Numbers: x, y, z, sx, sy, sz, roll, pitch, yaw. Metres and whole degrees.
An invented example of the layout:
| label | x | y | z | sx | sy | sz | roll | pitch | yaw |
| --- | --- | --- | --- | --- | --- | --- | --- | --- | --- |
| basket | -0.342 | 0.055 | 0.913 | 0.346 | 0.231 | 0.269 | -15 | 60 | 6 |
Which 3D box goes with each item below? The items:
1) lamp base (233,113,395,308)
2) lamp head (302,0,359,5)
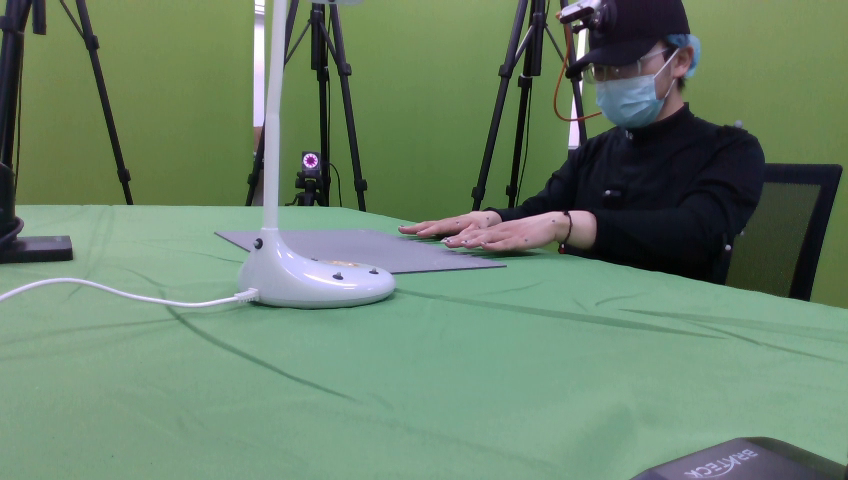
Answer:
| label | x | y | z | sx | sy | sz | roll | pitch | yaw |
| --- | --- | --- | --- | --- | --- | --- | --- | --- | --- |
| lamp base | -0.113 | -0.033 | 0.600 | 0.160 | 0.180 | 0.180 | 6 | 11 | 28 |
| lamp head | -0.095 | -0.314 | 0.610 | 0.112 | 0.123 | 0.112 | -4 | 50 | 5 |
